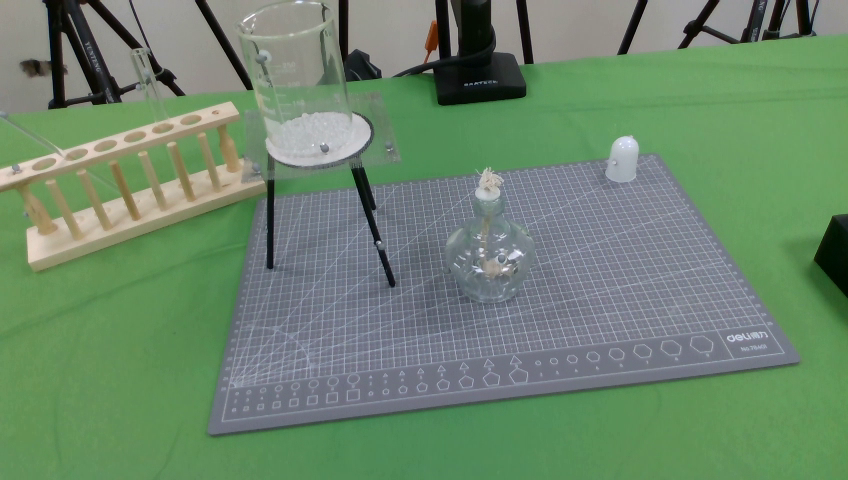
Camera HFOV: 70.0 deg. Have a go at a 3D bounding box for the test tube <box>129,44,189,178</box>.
[{"bbox_3d":[-0.275,-0.129,0.634,0.017,0.151,0.017,-2,38,2],"label":"test tube"}]

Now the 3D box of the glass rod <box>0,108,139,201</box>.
[{"bbox_3d":[-0.364,-0.092,0.590,0.008,0.202,0.008,-19,51,25],"label":"glass rod"}]

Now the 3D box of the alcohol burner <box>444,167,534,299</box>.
[{"bbox_3d":[0.054,-0.008,0.508,0.078,0.120,0.077,-3,39,3],"label":"alcohol burner"}]

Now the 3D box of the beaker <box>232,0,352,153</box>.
[{"bbox_3d":[-0.099,-0.126,0.470,0.083,0.101,0.073,14,44,23],"label":"beaker"}]

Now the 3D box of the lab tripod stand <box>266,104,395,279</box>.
[{"bbox_3d":[-0.085,-0.042,0.547,0.148,0.133,0.147,-3,43,4],"label":"lab tripod stand"}]

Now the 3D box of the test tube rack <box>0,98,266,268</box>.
[{"bbox_3d":[-0.302,-0.065,0.638,0.243,0.086,0.066,-23,44,-19],"label":"test tube rack"}]

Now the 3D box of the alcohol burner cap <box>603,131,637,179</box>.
[{"bbox_3d":[0.209,-0.093,0.643,0.034,0.048,0.033,-3,41,3],"label":"alcohol burner cap"}]

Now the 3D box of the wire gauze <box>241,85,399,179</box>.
[{"bbox_3d":[-0.090,-0.091,0.503,0.125,0.011,0.120,-12,39,-3],"label":"wire gauze"}]
